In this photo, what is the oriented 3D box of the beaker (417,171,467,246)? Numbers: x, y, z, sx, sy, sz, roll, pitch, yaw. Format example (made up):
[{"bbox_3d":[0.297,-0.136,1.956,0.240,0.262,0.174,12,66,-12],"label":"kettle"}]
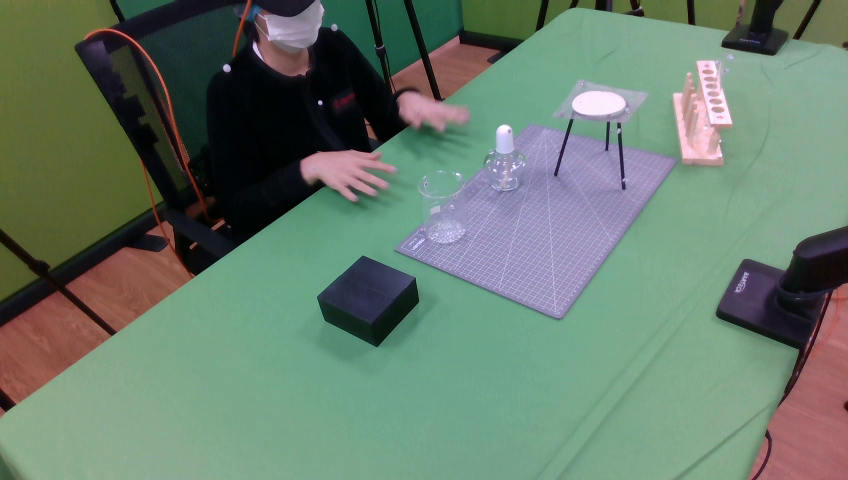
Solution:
[{"bbox_3d":[0.034,-0.049,0.965,0.084,0.101,0.073,-32,46,-27],"label":"beaker"}]

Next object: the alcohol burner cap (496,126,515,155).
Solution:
[{"bbox_3d":[0.138,-0.172,1.028,0.034,0.048,0.033,-5,38,4],"label":"alcohol burner cap"}]

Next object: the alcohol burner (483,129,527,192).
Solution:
[{"bbox_3d":[0.141,-0.144,1.050,0.078,0.119,0.077,-4,42,4],"label":"alcohol burner"}]

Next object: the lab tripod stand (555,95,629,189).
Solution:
[{"bbox_3d":[0.300,-0.174,1.045,0.148,0.132,0.147,-5,38,5],"label":"lab tripod stand"}]

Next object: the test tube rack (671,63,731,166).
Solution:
[{"bbox_3d":[0.513,-0.241,1.132,0.066,0.085,0.242,4,41,14],"label":"test tube rack"}]

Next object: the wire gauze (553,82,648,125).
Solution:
[{"bbox_3d":[0.293,-0.225,1.002,0.120,0.011,0.125,17,45,27],"label":"wire gauze"}]

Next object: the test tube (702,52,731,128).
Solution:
[{"bbox_3d":[0.523,-0.266,1.082,0.017,0.151,0.017,-3,45,4],"label":"test tube"}]
